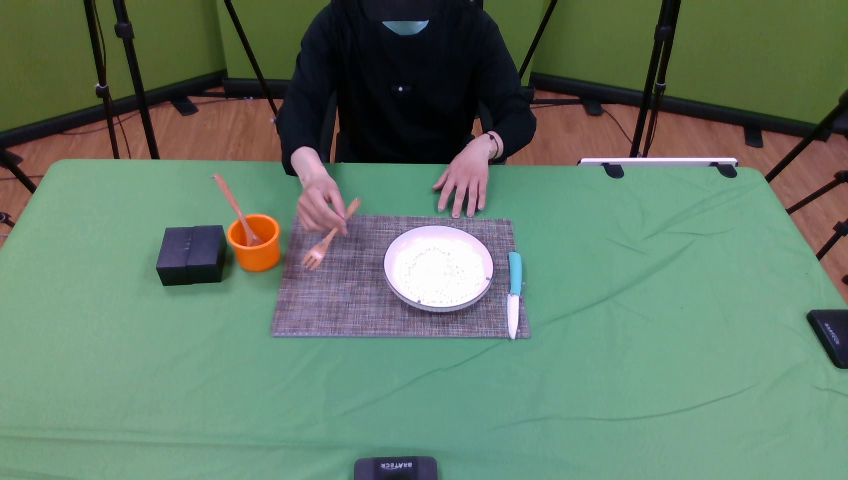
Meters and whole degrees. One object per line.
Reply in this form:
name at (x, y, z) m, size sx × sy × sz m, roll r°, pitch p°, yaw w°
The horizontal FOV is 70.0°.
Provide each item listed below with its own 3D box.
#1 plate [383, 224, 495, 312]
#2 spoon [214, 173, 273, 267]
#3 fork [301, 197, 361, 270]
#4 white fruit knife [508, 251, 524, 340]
plate at (0.026, 0.055, 1.128) m, size 0.209 × 0.038 × 0.208 m, roll 2°, pitch 46°, yaw -2°
spoon at (-0.336, -0.037, 1.121) m, size 0.041 × 0.194 × 0.021 m, roll -29°, pitch 10°, yaw -24°
fork at (-0.163, -0.016, 1.091) m, size 0.028 × 0.018 × 0.206 m, roll 34°, pitch 49°, yaw -3°
white fruit knife at (0.169, 0.098, 1.113) m, size 0.027 × 0.016 × 0.206 m, roll -13°, pitch 43°, yaw 23°
